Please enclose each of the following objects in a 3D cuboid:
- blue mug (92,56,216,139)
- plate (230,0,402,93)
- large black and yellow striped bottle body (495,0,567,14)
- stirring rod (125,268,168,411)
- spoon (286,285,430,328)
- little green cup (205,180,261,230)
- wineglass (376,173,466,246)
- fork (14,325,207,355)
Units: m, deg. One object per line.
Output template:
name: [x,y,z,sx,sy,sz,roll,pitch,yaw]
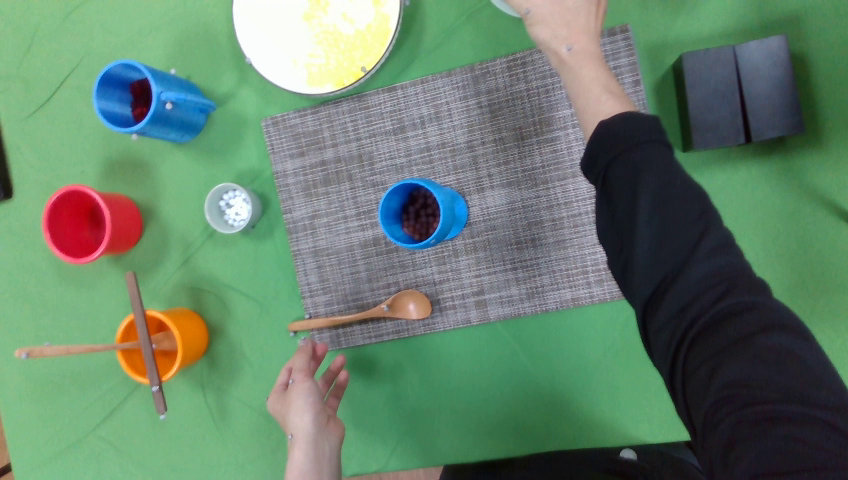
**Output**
blue mug: [-0.310,-0.167,0.727,0.116,0.106,0.082,2,94,10]
plate: [-0.126,-0.278,0.719,0.209,0.038,0.209,1,95,10]
large black and yellow striped bottle body: [0.107,-0.316,0.598,0.130,0.184,0.131,1,94,11]
stirring rod: [-0.333,0.119,0.726,0.014,0.006,0.176,-12,92,13]
spoon: [-0.084,0.087,0.741,0.193,0.021,0.042,-13,115,12]
little green cup: [-0.236,-0.044,0.756,0.061,0.038,0.061,1,95,11]
wineglass: [0.002,-0.032,0.640,0.073,0.172,0.074,1,93,11]
fork: [-0.374,0.124,0.737,0.208,0.018,0.028,-1,102,-33]
